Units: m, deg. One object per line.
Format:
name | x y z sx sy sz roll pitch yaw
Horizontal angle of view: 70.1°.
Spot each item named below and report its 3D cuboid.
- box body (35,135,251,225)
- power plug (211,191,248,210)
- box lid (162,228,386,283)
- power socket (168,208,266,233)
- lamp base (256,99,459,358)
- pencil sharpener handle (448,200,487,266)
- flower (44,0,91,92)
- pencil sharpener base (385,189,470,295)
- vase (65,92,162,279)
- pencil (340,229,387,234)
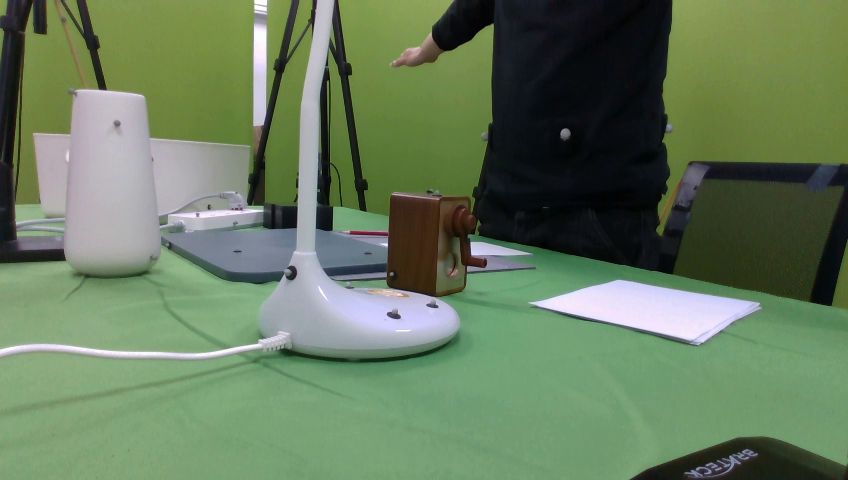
box body | -0.559 -0.127 1.257 0.253 0.160 0.365 4 8 15
power plug | -0.384 -0.071 1.205 0.072 0.052 0.035 1 9 28
box lid | -0.200 0.014 0.861 0.265 0.015 0.369 -4 10 -35
power socket | -0.380 -0.038 1.129 0.072 0.032 0.227 4 8 18
lamp base | -0.055 -0.013 0.463 0.160 0.180 0.180 6 11 27
pencil sharpener handle | 0.048 -0.006 0.623 0.030 0.068 0.036 8 21 37
flower | -0.361 -0.142 0.663 0.044 0.361 0.038 -12 11 32
pencil sharpener base | 0.006 0.001 0.652 0.076 0.107 0.061 8 9 37
vase | -0.347 -0.060 0.673 0.098 0.200 0.098 1 7 0
pencil | -0.057 -0.013 1.095 0.195 0.012 0.012 1 7 -19
